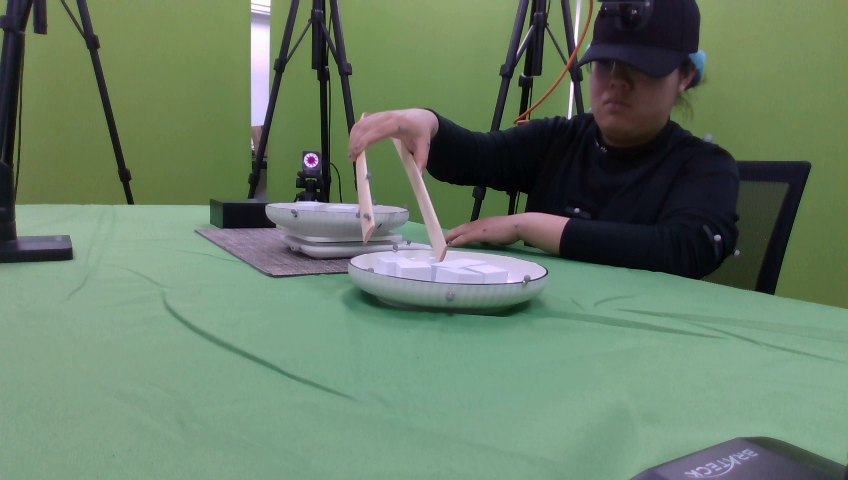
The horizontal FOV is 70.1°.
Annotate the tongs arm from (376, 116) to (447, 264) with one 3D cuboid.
[{"bbox_3d":[-0.021,-0.084,0.807,0.028,0.028,0.386,9,29,-19],"label":"tongs arm"}]

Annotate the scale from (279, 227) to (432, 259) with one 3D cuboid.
[{"bbox_3d":[-0.100,0.001,0.899,0.202,0.031,0.148,-1,9,-31],"label":"scale"}]

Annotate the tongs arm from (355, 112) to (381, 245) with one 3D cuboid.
[{"bbox_3d":[-0.066,-0.096,0.792,0.051,0.026,0.383,14,27,-18],"label":"tongs arm"}]

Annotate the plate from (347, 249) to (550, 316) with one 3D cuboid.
[{"bbox_3d":[0.025,0.042,0.627,0.209,0.038,0.209,2,7,0],"label":"plate"}]

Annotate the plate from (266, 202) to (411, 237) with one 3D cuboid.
[{"bbox_3d":[-0.123,-0.030,0.879,0.208,0.039,0.207,2,6,0],"label":"plate"}]
